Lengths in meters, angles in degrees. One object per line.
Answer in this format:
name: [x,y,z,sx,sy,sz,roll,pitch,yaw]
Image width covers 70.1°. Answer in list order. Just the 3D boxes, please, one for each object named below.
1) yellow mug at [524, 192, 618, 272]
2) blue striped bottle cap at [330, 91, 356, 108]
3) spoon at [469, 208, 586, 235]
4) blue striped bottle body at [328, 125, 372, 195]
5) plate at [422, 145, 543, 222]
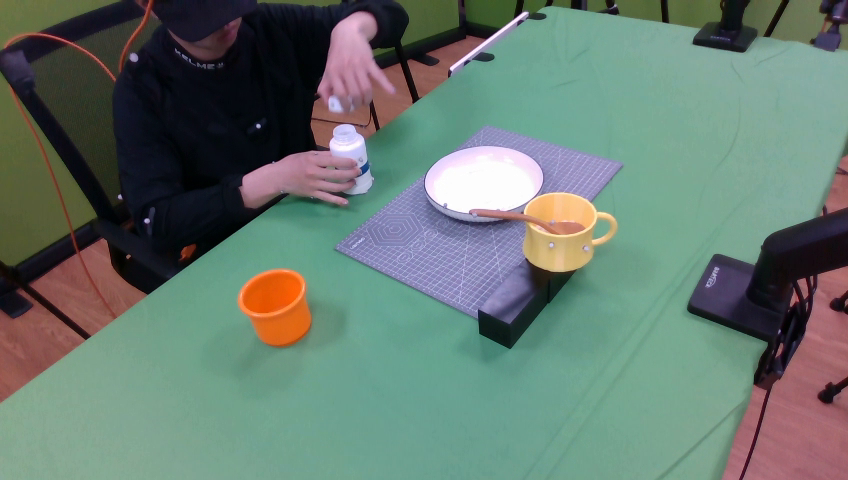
yellow mug: [0.206,-0.014,0.845,0.131,0.064,0.099,-4,41,2]
blue striped bottle cap: [-0.138,-0.239,1.028,0.044,0.020,0.044,1,26,0]
spoon: [0.143,-0.026,0.817,0.195,0.021,0.041,12,35,-29]
blue striped bottle body: [-0.134,-0.145,1.082,0.063,0.121,0.063,-4,41,4]
plate: [0.101,-0.094,1.048,0.207,0.039,0.206,-4,41,4]
